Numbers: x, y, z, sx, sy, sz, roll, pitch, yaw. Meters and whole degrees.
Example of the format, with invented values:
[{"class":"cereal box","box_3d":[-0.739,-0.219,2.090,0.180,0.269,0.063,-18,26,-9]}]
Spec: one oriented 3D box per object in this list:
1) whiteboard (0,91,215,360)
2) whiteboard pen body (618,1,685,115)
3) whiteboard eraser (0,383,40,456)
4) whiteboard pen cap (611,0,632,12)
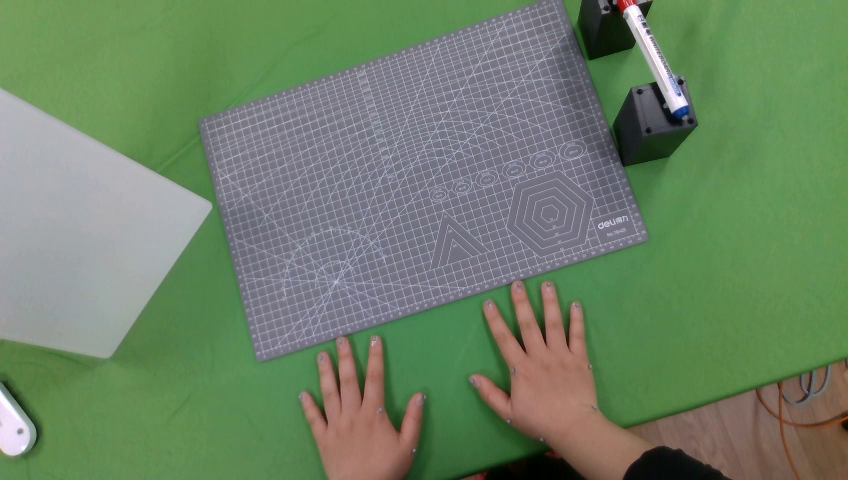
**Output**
[{"class":"whiteboard","box_3d":[-0.415,-0.030,0.611,0.142,0.308,0.217,32,87,31]},{"class":"whiteboard pen body","box_3d":[0.208,-0.180,0.566,0.017,0.017,0.140,-23,81,4]},{"class":"whiteboard eraser","box_3d":[-0.488,0.204,0.699,0.101,0.019,0.041,44,88,10]},{"class":"whiteboard pen cap","box_3d":[0.185,-0.235,0.576,0.017,0.017,0.032,-23,81,4]}]
